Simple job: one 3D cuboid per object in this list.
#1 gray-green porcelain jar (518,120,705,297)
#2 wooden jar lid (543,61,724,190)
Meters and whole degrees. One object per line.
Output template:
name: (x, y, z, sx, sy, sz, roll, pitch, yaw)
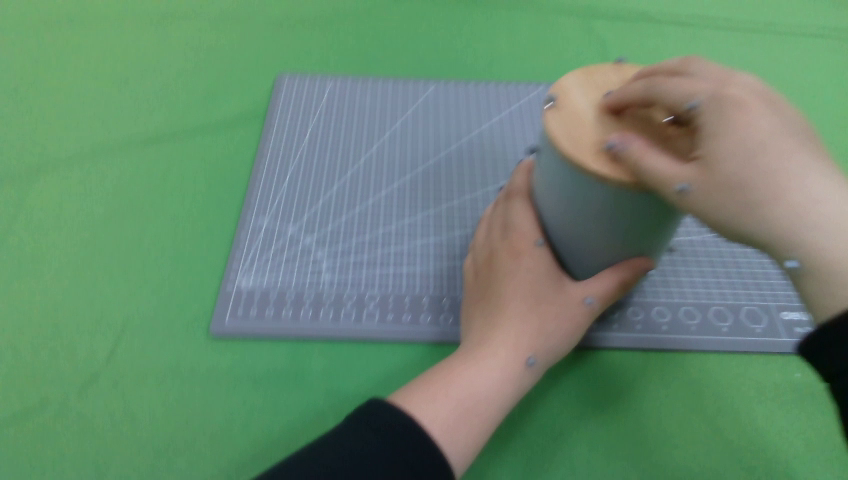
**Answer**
gray-green porcelain jar: (0.123, -0.030, 0.419, 0.106, 0.127, 0.105, 1, 52, -1)
wooden jar lid: (0.125, -0.068, 0.371, 0.108, 0.021, 0.107, 1, 53, -1)
